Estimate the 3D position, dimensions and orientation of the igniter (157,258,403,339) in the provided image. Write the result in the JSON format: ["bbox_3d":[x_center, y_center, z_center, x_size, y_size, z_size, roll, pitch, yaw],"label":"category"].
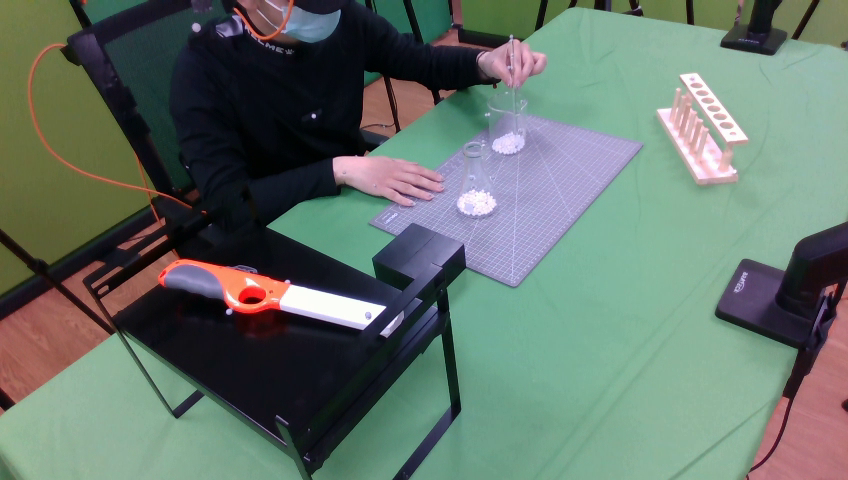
[{"bbox_3d":[-0.157,0.059,0.638,0.275,0.025,0.057,11,43,14],"label":"igniter"}]

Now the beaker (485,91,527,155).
[{"bbox_3d":[0.158,-0.217,1.141,0.074,0.101,0.083,-19,42,-12],"label":"beaker"}]

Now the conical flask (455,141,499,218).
[{"bbox_3d":[0.085,-0.103,0.999,0.075,0.122,0.075,-4,40,4],"label":"conical flask"}]

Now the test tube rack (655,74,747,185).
[{"bbox_3d":[0.491,-0.205,1.092,0.067,0.085,0.241,-5,40,3],"label":"test tube rack"}]

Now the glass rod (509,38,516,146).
[{"bbox_3d":[0.165,-0.272,1.127,0.008,0.200,0.008,-5,26,3],"label":"glass rod"}]
